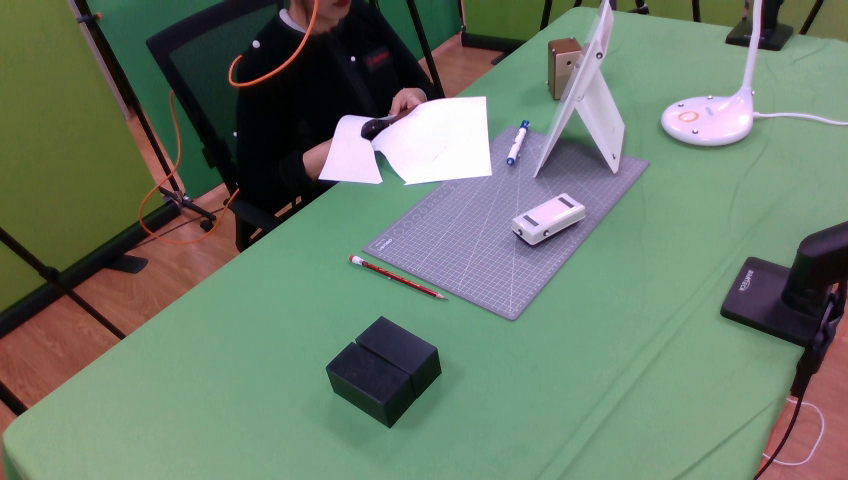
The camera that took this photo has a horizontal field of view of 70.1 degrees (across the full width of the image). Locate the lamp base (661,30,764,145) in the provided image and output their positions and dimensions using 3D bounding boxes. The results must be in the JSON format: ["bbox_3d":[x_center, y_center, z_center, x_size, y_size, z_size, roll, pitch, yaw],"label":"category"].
[{"bbox_3d":[0.535,-0.287,1.096,0.179,0.181,0.159,-10,40,-4],"label":"lamp base"}]

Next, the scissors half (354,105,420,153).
[{"bbox_3d":[-0.076,-0.232,1.256,0.174,0.040,0.013,-32,21,27],"label":"scissors half"}]

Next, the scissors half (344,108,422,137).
[{"bbox_3d":[-0.087,-0.248,1.247,0.174,0.040,0.013,-10,35,16],"label":"scissors half"}]

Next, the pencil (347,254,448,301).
[{"bbox_3d":[-0.044,0.058,0.933,0.192,0.012,0.012,22,49,28],"label":"pencil"}]

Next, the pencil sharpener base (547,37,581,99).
[{"bbox_3d":[0.299,-0.368,1.290,0.061,0.107,0.076,-8,40,2],"label":"pencil sharpener base"}]

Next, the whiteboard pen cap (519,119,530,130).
[{"bbox_3d":[0.199,-0.226,1.204,0.018,0.018,0.033,7,41,18],"label":"whiteboard pen cap"}]

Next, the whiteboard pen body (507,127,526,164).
[{"bbox_3d":[0.181,-0.189,1.162,0.017,0.017,0.140,7,42,19],"label":"whiteboard pen body"}]

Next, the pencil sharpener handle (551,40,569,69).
[{"bbox_3d":[0.291,-0.409,1.320,0.036,0.068,0.030,2,40,-6],"label":"pencil sharpener handle"}]

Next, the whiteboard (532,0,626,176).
[{"bbox_3d":[0.320,-0.258,1.050,0.144,0.306,0.217,21,45,5],"label":"whiteboard"}]

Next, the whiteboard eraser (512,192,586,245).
[{"bbox_3d":[0.199,-0.032,0.962,0.113,0.042,0.055,-27,43,-20],"label":"whiteboard eraser"}]
